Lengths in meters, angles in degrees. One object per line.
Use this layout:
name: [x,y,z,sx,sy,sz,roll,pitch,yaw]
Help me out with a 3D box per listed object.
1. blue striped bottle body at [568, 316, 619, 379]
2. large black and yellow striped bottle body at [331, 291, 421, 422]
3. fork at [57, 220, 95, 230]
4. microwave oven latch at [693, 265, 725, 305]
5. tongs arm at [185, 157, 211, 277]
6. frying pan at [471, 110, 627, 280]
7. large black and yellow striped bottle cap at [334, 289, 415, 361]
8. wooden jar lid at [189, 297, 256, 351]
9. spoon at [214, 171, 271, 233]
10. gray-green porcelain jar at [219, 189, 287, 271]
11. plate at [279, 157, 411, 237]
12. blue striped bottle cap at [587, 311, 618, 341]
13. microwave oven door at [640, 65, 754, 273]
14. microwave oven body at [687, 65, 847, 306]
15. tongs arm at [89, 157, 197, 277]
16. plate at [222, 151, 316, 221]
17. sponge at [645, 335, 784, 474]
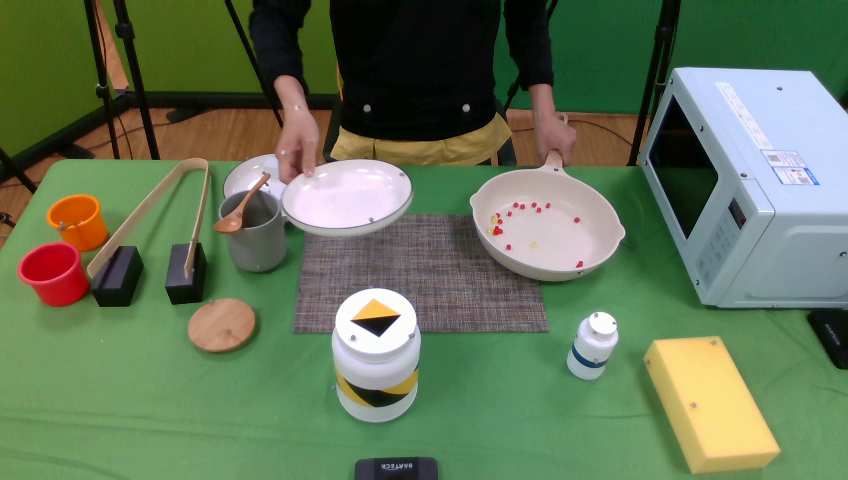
blue striped bottle body: [0.276,0.168,0.984,0.063,0.121,0.062,2,46,-2]
large black and yellow striped bottle body: [-0.071,0.175,0.911,0.131,0.185,0.130,2,47,-2]
fork: [-0.624,-0.027,1.086,0.028,0.207,0.018,-3,92,-17]
microwave oven latch: [0.523,0.082,1.116,0.030,0.029,0.078,2,46,-1]
tongs arm: [-0.446,-0.058,1.168,0.051,0.026,0.382,-4,37,-6]
frying pan: [0.266,-0.110,1.259,0.306,0.103,0.485,14,54,6]
large black and yellow striped bottle cap: [-0.069,0.117,0.850,0.115,0.019,0.114,2,45,-2]
wooden jar lid: [-0.342,0.145,1.033,0.108,0.021,0.107,3,45,-2]
spoon: [-0.312,-0.070,1.070,0.041,0.022,0.193,9,43,10]
gray-green porcelain jar: [-0.310,-0.014,1.113,0.106,0.127,0.105,2,46,-2]
plate: [-0.122,-0.065,0.956,0.209,0.038,0.208,-2,37,2]
blue striped bottle cap: [0.279,0.134,0.946,0.044,0.021,0.044,2,45,-2]
microwave oven door: [0.523,-0.147,1.193,0.039,0.245,0.353,0,47,-3]
microwave oven body: [0.669,-0.111,1.176,0.326,0.261,0.439,0,46,-3]
tongs arm: [-0.530,-0.058,1.163,0.028,0.028,0.385,1,36,7]
plate: [-0.310,-0.106,1.262,0.208,0.039,0.206,2,46,-2]
sponge: [0.449,0.253,0.956,0.118,0.061,0.205,-4,46,-7]
